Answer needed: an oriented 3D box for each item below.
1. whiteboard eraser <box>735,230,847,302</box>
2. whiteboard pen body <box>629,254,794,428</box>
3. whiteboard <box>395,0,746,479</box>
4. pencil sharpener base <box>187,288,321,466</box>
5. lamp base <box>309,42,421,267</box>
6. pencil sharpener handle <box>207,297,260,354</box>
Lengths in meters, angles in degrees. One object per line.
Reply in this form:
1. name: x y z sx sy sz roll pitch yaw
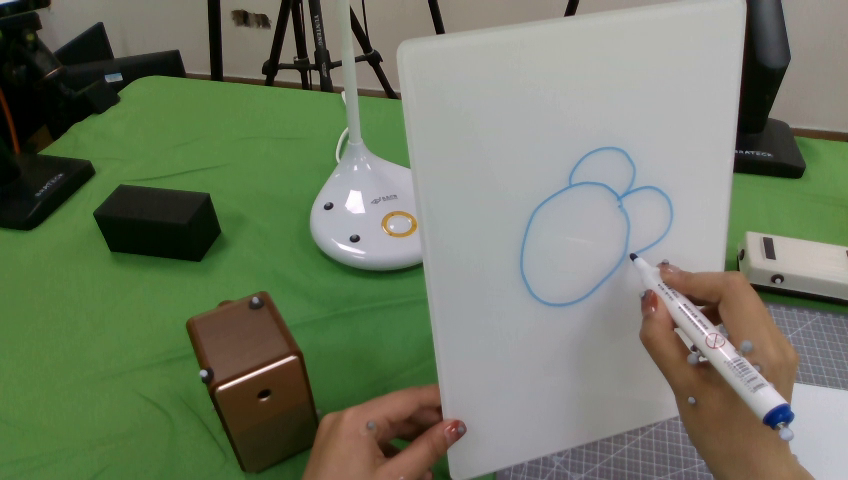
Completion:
1. whiteboard eraser: 0.354 0.026 0.567 0.112 0.042 0.055 9 41 12
2. whiteboard pen body: 0.156 0.049 0.349 0.017 0.017 0.139 -12 39 -12
3. whiteboard: 0.090 -0.008 0.454 0.217 0.307 0.142 -12 23 -11
4. pencil sharpener base: -0.122 0.100 0.442 0.061 0.108 0.076 -22 45 -21
5. lamp base: -0.051 -0.092 0.605 0.161 0.182 0.177 -25 44 -25
6. pencil sharpener handle: -0.146 0.061 0.468 0.036 0.068 0.030 -28 47 -15
